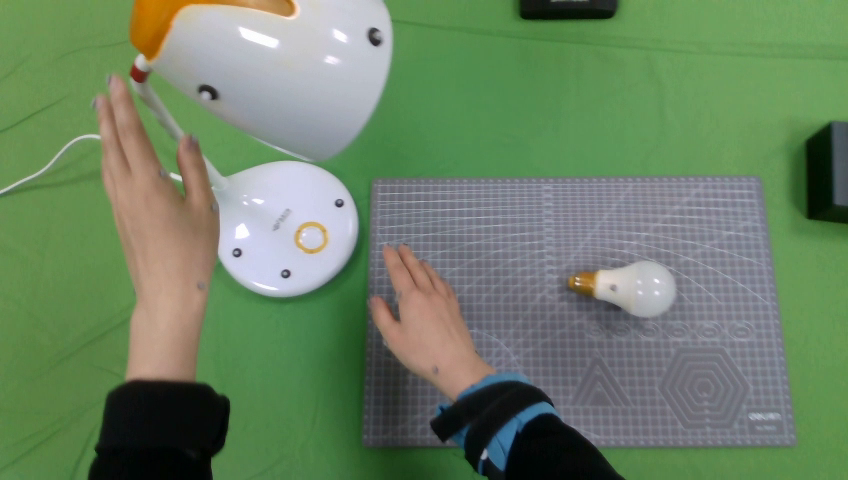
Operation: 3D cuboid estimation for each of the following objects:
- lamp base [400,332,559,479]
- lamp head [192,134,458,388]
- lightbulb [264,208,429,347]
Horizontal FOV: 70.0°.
[{"bbox_3d":[0.047,0.150,0.594,0.179,0.181,0.159,9,70,12],"label":"lamp base"},{"bbox_3d":[-0.058,0.024,0.301,0.113,0.123,0.111,17,60,-32],"label":"lamp head"},{"bbox_3d":[-0.044,0.021,0.277,0.107,0.060,0.059,-18,61,44],"label":"lightbulb"}]
